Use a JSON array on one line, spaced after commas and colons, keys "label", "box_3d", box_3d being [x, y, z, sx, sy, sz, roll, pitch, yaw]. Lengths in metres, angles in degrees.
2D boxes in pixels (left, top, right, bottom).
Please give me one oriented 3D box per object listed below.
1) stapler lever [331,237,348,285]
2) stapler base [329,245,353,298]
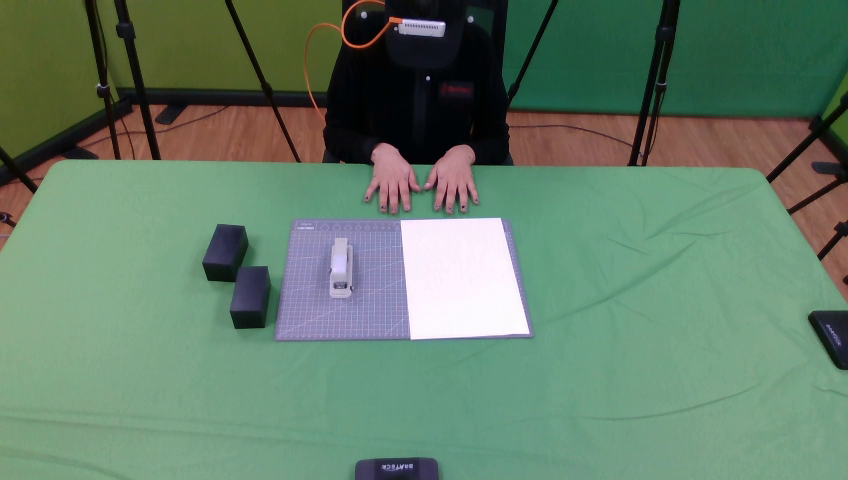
[{"label": "stapler lever", "box_3d": [-0.155, 0.032, 1.116, 0.027, 0.040, 0.117, 1, 44, -6]}, {"label": "stapler base", "box_3d": [-0.155, 0.051, 1.133, 0.041, 0.024, 0.129, 1, 44, -6]}]
